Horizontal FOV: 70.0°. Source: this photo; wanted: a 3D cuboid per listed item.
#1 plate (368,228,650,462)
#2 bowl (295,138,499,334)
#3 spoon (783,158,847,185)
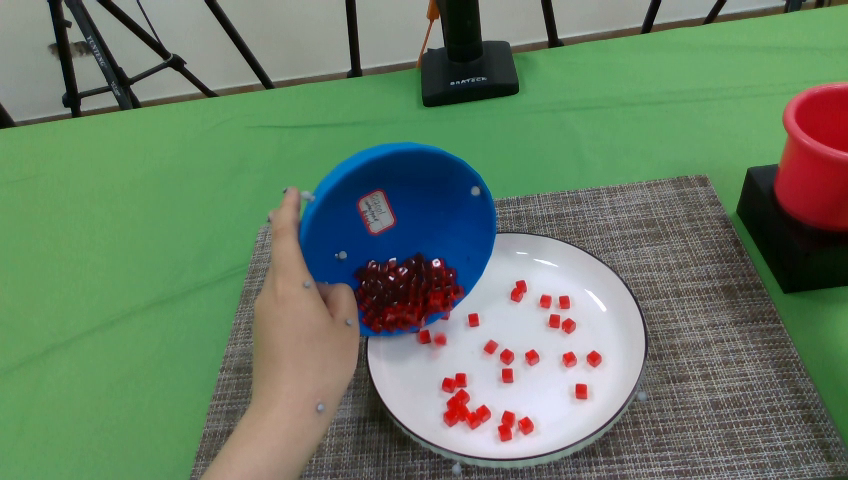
[{"bbox_3d":[0.062,0.075,0.465,0.207,0.039,0.205,-6,45,6],"label":"plate"},{"bbox_3d":[-0.029,-0.013,0.457,0.151,0.153,0.076,-24,34,-12],"label":"bowl"},{"bbox_3d":[0.309,-0.059,0.396,0.041,0.194,0.021,-24,87,-5],"label":"spoon"}]
